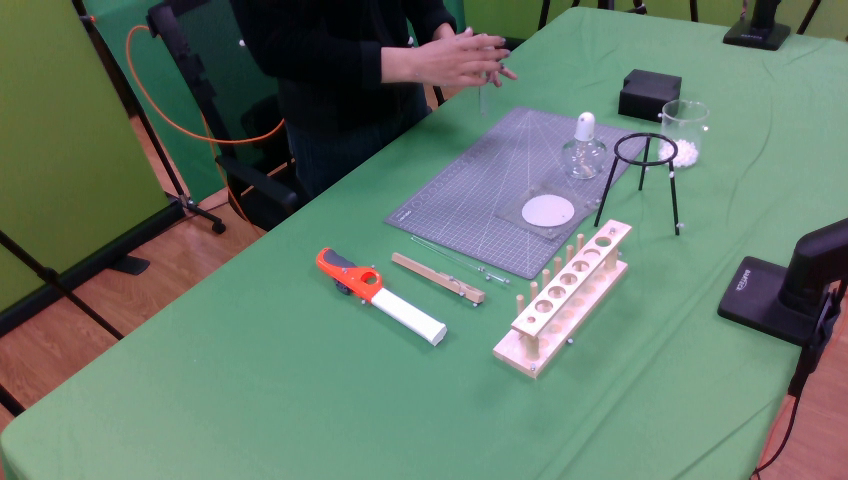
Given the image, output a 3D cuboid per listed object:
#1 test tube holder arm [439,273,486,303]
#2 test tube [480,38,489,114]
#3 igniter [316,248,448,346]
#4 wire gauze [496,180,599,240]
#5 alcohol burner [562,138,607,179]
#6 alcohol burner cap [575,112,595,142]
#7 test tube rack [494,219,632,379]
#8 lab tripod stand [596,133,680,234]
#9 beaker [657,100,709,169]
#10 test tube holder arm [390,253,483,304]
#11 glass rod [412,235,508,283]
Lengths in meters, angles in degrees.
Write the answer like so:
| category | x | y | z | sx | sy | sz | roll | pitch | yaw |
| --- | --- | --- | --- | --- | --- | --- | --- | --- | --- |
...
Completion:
| category | x | y | z | sx | sy | sz | roll | pitch | yaw |
| --- | --- | --- | --- | --- | --- | --- | --- | --- | --- |
| test tube holder arm | 0.053 | 0.070 | 0.896 | 0.087 | 0.015 | 0.010 | 24 | 17 | 35 |
| test tube | 0.112 | -0.300 | 1.121 | 0.017 | 0.151 | 0.017 | -3 | 44 | 3 |
| igniter | -0.074 | 0.078 | 0.902 | 0.274 | 0.025 | 0.057 | 28 | 63 | 36 |
| wire gauze | 0.206 | -0.050 | 1.012 | 0.125 | 0.011 | 0.120 | -34 | 45 | -26 |
| alcohol burner | 0.280 | -0.167 | 1.052 | 0.078 | 0.119 | 0.077 | -5 | 38 | 4 |
| alcohol burner cap | 0.276 | -0.194 | 1.028 | 0.034 | 0.048 | 0.033 | -2 | 45 | 3 |
| test tube rack | 0.191 | 0.068 | 0.818 | 0.066 | 0.085 | 0.243 | 25 | 51 | 35 |
| lab tripod stand | 0.338 | -0.091 | 0.940 | 0.148 | 0.132 | 0.147 | -7 | 39 | 6 |
| beaker | 0.449 | -0.183 | 1.054 | 0.073 | 0.101 | 0.084 | 15 | 46 | 27 |
| test tube holder arm | 0.016 | 0.056 | 0.917 | 0.177 | 0.015 | 0.013 | 23 | 17 | 34 |
| glass rod | 0.051 | 0.028 | 0.951 | 0.198 | 0.008 | 0.008 | 25 | 51 | 37 |
